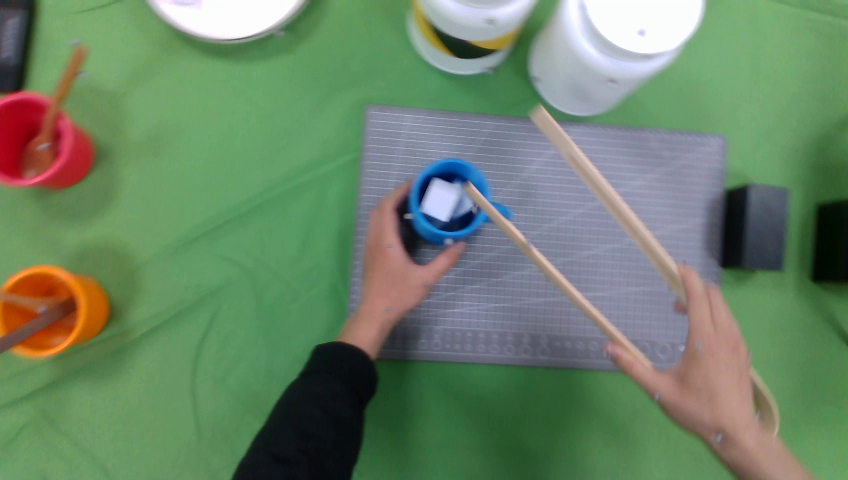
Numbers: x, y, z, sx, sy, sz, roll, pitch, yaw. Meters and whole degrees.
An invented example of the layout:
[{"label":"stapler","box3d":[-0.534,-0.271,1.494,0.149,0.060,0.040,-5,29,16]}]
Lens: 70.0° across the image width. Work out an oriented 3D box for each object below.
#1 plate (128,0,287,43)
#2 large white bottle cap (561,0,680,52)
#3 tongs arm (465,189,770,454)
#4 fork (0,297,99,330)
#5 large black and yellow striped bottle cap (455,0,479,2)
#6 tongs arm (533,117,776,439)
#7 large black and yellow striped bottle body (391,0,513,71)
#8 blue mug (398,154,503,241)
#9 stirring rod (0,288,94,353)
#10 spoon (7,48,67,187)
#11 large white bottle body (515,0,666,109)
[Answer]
[{"label":"plate","box3d":[-0.248,-0.326,0.702,0.208,0.039,0.207,0,87,-5]},{"label":"large white bottle cap","box3d":[0.187,-0.237,0.575,0.115,0.018,0.114,0,86,-5]},{"label":"tongs arm","box3d":[0.188,0.078,0.571,0.386,0.026,0.050,46,75,-8]},{"label":"fork","box3d":[-0.435,0.059,0.607,0.209,0.018,0.028,27,80,-46]},{"label":"large black and yellow striped bottle cap","box3d":[0.038,-0.282,0.567,0.115,0.019,0.115,0,87,-6]},{"label":"tongs arm","box3d":[0.226,0.039,0.584,0.028,0.027,0.388,-41,97,-19]},{"label":"large black and yellow striped bottle body","box3d":[0.032,-0.274,0.650,0.131,0.184,0.130,0,86,-4]},{"label":"blue mug","box3d":[0.029,-0.040,0.672,0.117,0.106,0.082,11,85,-4]},{"label":"stirring rod","box3d":[-0.414,0.098,0.612,0.014,0.006,0.176,50,42,-3]},{"label":"spoon","box3d":[-0.398,-0.122,0.624,0.041,0.021,0.194,49,127,3]},{"label":"large white bottle body","box3d":[0.180,-0.230,0.659,0.131,0.184,0.130,0,86,-4]}]
